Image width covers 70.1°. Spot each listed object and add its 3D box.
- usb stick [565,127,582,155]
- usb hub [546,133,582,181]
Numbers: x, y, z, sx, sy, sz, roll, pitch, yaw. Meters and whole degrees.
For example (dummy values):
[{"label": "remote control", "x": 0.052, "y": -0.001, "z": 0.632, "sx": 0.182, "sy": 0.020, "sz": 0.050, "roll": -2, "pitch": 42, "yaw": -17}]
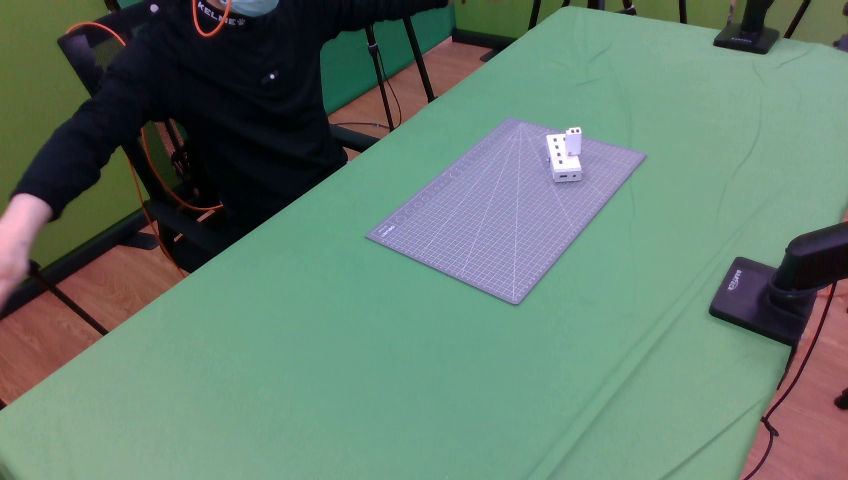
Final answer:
[{"label": "usb stick", "x": 0.266, "y": -0.170, "z": 1.077, "sx": 0.027, "sy": 0.059, "sz": 0.021, "roll": -3, "pitch": 41, "yaw": 2}, {"label": "usb hub", "x": 0.255, "y": -0.153, "z": 1.103, "sx": 0.049, "sy": 0.025, "sz": 0.124, "roll": -3, "pitch": 41, "yaw": 4}]
